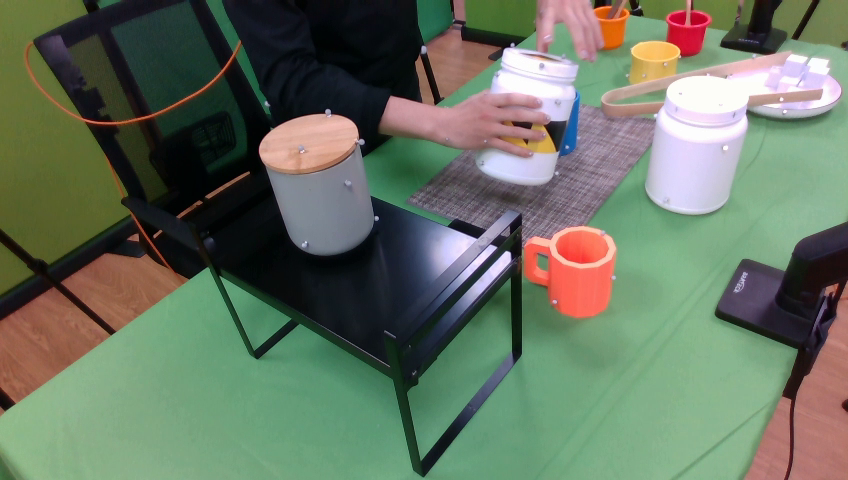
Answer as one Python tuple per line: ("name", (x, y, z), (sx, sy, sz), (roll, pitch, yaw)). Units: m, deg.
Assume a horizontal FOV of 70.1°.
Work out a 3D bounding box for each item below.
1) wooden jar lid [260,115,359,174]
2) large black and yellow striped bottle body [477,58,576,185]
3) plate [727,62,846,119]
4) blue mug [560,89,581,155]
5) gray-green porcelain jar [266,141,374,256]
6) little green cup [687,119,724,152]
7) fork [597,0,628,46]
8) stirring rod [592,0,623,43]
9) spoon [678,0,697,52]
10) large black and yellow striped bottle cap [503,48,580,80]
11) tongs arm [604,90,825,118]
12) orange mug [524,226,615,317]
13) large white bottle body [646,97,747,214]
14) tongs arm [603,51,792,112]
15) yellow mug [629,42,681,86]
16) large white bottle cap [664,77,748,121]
("wooden jar lid", (-0.124, -0.101, 0.662), (0.108, 0.021, 0.108), (-4, 41, 4))
("large black and yellow striped bottle body", (0.162, -0.192, 0.948), (0.131, 0.184, 0.130), (9, 26, -4))
("plate", (0.709, -0.292, 1.198), (0.207, 0.039, 0.206), (-4, 40, 4))
("blue mug", (0.233, -0.218, 1.127), (0.117, 0.106, 0.081), (-23, 43, -16))
("gray-green porcelain jar", (-0.117, -0.054, 0.703), (0.106, 0.127, 0.105), (-4, 40, 4))
("little green cup", (0.514, -0.191, 1.109), (0.061, 0.039, 0.061), (-6, 40, 5))
("fork", (0.479, -0.558, 1.455), (0.028, 0.019, 0.207), (35, 100, 38))
("stirring rod", (0.460, -0.557, 1.461), (0.014, 0.176, 0.006), (35, 11, 23))
("spoon", (0.614, -0.526, 1.402), (0.041, 0.022, 0.193), (3, 86, 11))
("large black and yellow striped bottle cap", (0.177, -0.266, 0.911), (0.115, 0.019, 0.114), (8, 27, -4))
("tongs arm", (0.546, -0.262, 1.163), (0.386, 0.028, 0.028), (-1, 50, 18))
("orange mug", (0.201, 0.039, 0.845), (0.125, 0.101, 0.083), (18, 47, 21))
("large white bottle body", (0.431, -0.148, 0.959), (0.130, 0.185, 0.130), (-4, 41, 4))
("tongs arm", (0.552, -0.320, 1.223), (0.384, 0.027, 0.050), (-10, 44, 7))
("yellow mug", (0.495, -0.389, 1.321), (0.100, 0.064, 0.130), (-14, 40, -7))
("large white bottle cap", (0.421, -0.212, 0.905), (0.115, 0.018, 0.114), (-4, 40, 4))
